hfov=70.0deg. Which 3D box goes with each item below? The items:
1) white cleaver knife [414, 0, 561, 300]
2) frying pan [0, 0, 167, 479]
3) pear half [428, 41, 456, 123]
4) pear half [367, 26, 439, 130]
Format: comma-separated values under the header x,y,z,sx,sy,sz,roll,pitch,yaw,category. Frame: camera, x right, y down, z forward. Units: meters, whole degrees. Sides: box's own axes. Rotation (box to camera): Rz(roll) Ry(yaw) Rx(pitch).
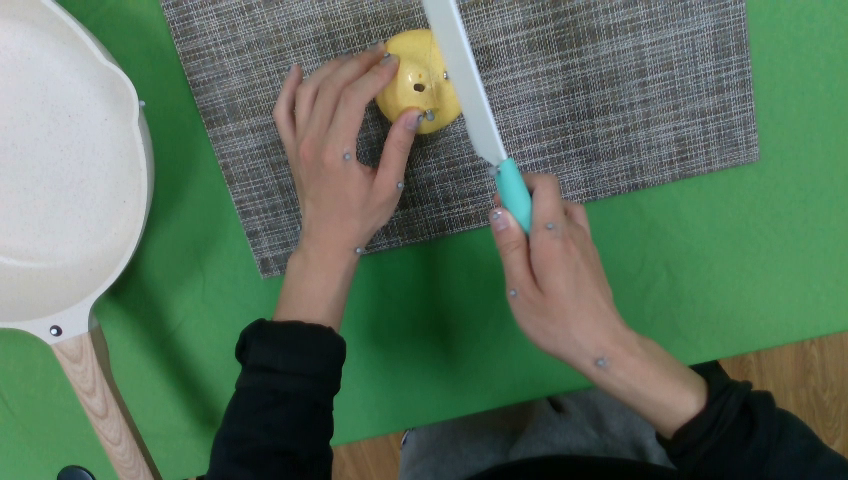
x,y,z,sx,sy,sz,roll,pitch,yaw,category
0.039,-0.073,0.399,0.021,0.065,0.289,-28,121,-5,white cleaver knife
-0.325,0.022,0.512,0.306,0.102,0.489,-18,99,8,frying pan
0.020,-0.126,0.457,0.031,0.087,0.071,-10,104,5,pear half
-0.016,-0.118,0.450,0.056,0.109,0.076,-10,104,5,pear half
